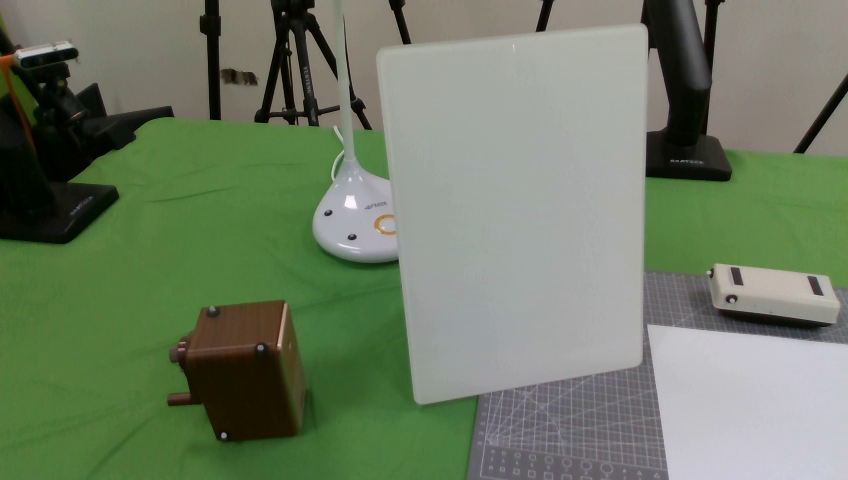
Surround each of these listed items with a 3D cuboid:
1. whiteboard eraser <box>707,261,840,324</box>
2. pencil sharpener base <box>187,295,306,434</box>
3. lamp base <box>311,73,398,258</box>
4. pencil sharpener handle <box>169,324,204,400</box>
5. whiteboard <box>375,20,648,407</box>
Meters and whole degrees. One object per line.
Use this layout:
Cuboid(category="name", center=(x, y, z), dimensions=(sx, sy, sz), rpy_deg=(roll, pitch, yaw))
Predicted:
Cuboid(category="whiteboard eraser", center=(0.349, 0.053, 0.611), dimensions=(0.112, 0.042, 0.055), rpy_deg=(7, 38, 12))
Cuboid(category="pencil sharpener base", center=(-0.146, 0.106, 0.506), dimensions=(0.077, 0.108, 0.060), rpy_deg=(-5, 37, -3))
Cuboid(category="lamp base", center=(-0.070, -0.096, 0.719), dimensions=(0.161, 0.182, 0.177), rpy_deg=(-25, 40, -29))
Cuboid(category="pencil sharpener handle", center=(-0.197, 0.102, 0.492), dimensions=(0.031, 0.068, 0.035), rpy_deg=(-5, 24, -3))
Cuboid(category="whiteboard", center=(0.074, -0.031, 0.567), dimensions=(0.217, 0.307, 0.143), rpy_deg=(-8, 17, -7))
